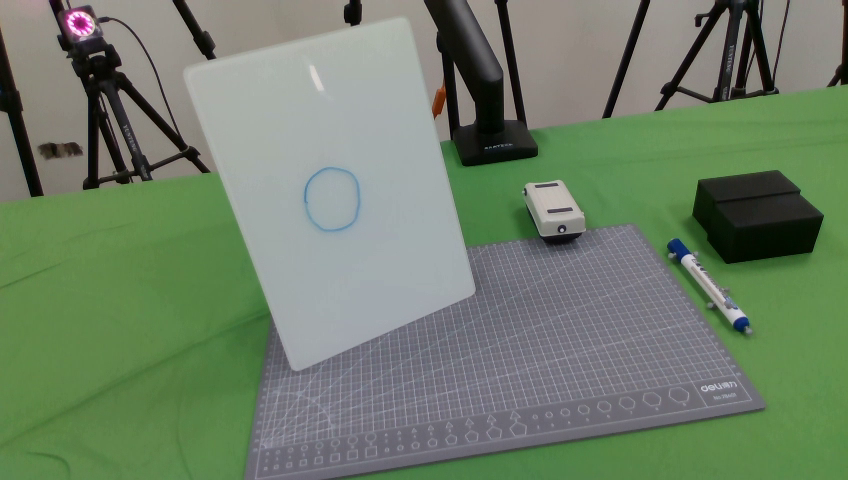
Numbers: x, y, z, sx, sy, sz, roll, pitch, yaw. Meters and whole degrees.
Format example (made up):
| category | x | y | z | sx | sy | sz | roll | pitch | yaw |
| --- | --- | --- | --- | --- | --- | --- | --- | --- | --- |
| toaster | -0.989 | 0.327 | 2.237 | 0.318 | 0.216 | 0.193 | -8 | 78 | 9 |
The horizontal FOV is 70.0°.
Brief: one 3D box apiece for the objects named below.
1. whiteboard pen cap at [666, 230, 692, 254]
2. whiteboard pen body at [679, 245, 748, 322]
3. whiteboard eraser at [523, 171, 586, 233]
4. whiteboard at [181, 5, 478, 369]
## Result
| category | x | y | z | sx | sy | sz | roll | pitch | yaw |
| --- | --- | --- | --- | --- | --- | --- | --- | --- | --- |
| whiteboard pen cap | 0.293 | 0.003 | 0.695 | 0.018 | 0.018 | 0.033 | -10 | 34 | -4 |
| whiteboard pen body | 0.302 | 0.037 | 0.648 | 0.017 | 0.017 | 0.139 | -9 | 35 | -3 |
| whiteboard eraser | 0.163 | -0.048 | 0.766 | 0.055 | 0.042 | 0.111 | -9 | 32 | 1 |
| whiteboard | -0.098 | -0.062 | 0.651 | 0.217 | 0.307 | 0.142 | -22 | 19 | -19 |
